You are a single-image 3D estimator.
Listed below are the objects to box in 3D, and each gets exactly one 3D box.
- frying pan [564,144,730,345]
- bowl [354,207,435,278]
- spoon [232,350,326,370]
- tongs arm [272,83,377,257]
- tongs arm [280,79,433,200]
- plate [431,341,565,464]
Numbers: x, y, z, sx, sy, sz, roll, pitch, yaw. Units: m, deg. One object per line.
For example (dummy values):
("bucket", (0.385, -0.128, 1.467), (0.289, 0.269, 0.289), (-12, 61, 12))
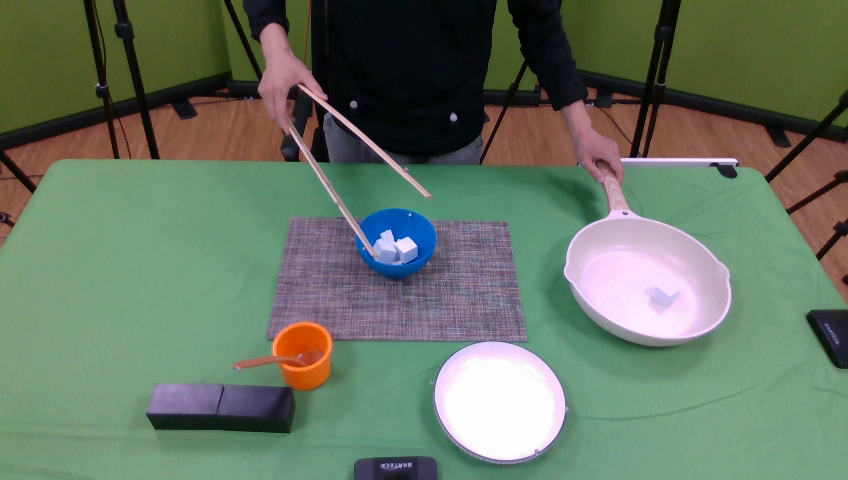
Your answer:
("frying pan", (0.396, -0.008, 1.179), (0.307, 0.103, 0.484), (0, 55, -5))
("bowl", (-0.056, 0.018, 1.132), (0.151, 0.077, 0.150), (2, 46, -2))
("spoon", (-0.216, 0.182, 0.919), (0.041, 0.194, 0.021), (43, 102, 27))
("tongs arm", (-0.176, -0.131, 1.083), (0.383, 0.051, 0.026), (53, 17, 20))
("tongs arm", (-0.124, -0.184, 1.066), (0.386, 0.028, 0.028), (41, 16, 22))
("plate", (0.114, 0.255, 0.952), (0.208, 0.039, 0.206), (3, 46, -2))
